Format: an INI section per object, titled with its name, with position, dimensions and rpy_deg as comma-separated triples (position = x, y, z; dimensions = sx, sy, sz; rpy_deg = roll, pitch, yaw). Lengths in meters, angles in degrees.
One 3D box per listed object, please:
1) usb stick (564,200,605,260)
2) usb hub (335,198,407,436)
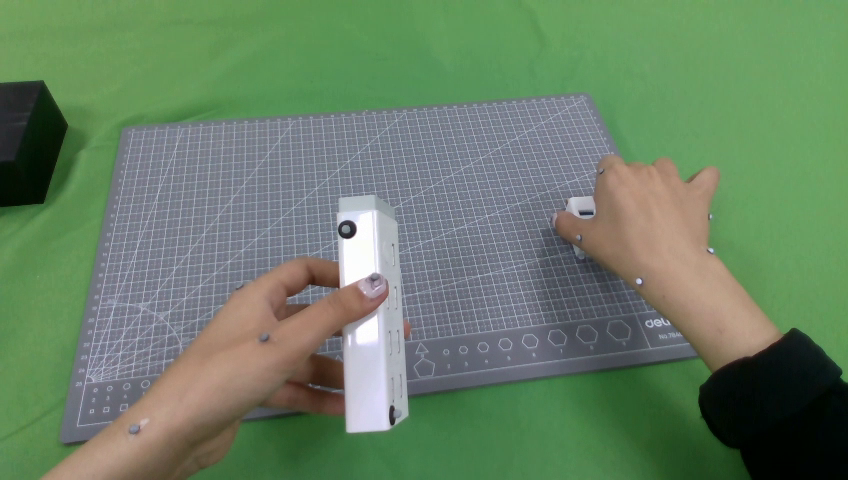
[usb stick]
position = 0.129, -0.014, 0.495
dimensions = 0.021, 0.027, 0.058
rpy_deg = -4, 49, -2
[usb hub]
position = -0.030, 0.042, 0.341
dimensions = 0.025, 0.050, 0.124
rpy_deg = -5, 82, 10
